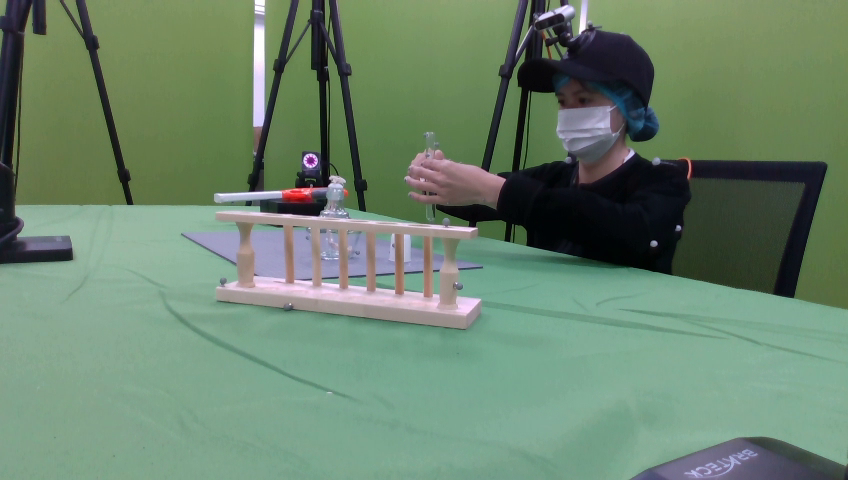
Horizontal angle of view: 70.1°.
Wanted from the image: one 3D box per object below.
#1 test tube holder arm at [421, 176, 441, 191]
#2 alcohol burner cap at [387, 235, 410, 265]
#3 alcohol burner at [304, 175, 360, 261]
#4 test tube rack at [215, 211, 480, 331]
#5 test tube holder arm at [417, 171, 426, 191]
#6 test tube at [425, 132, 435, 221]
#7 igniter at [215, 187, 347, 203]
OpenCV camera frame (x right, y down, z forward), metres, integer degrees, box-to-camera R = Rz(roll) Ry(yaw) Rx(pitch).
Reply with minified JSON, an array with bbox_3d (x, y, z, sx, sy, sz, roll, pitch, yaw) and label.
[{"bbox_3d":[0.008,-0.098,1.039,0.010,0.015,0.087,-2,14,-22],"label":"test tube holder arm"},{"bbox_3d":[-0.035,0.009,0.839,0.034,0.048,0.034,3,6,0],"label":"alcohol burner cap"},{"bbox_3d":[-0.126,-0.031,0.838,0.078,0.119,0.078,3,5,0],"label":"alcohol burner"},{"bbox_3d":[-0.071,0.022,0.565,0.242,0.085,0.067,5,7,16],"label":"test tube rack"},{"bbox_3d":[-0.005,-0.108,1.080,0.013,0.015,0.178,4,13,-5],"label":"test tube holder arm"},{"bbox_3d":[0.010,-0.106,1.015,0.017,0.150,0.017,-1,9,0],"label":"test tube"},{"bbox_3d":[-0.293,-0.095,1.267,0.278,0.025,0.057,-6,12,-34],"label":"igniter"}]
